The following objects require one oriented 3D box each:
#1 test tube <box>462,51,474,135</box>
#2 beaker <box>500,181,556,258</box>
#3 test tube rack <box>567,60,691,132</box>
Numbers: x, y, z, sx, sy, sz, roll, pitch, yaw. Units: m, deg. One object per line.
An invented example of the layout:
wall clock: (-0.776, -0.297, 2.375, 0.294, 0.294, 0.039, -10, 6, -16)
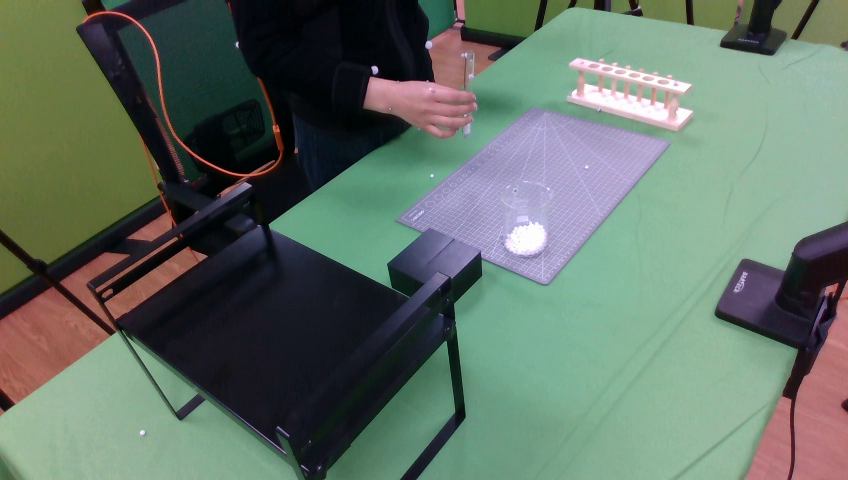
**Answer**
test tube: (0.074, -0.245, 1.023, 0.017, 0.151, 0.017, 0, 39, 1)
beaker: (0.159, -0.030, 0.922, 0.084, 0.100, 0.073, -13, 41, -8)
test tube rack: (0.411, -0.299, 1.217, 0.240, 0.085, 0.067, 26, 51, 33)
